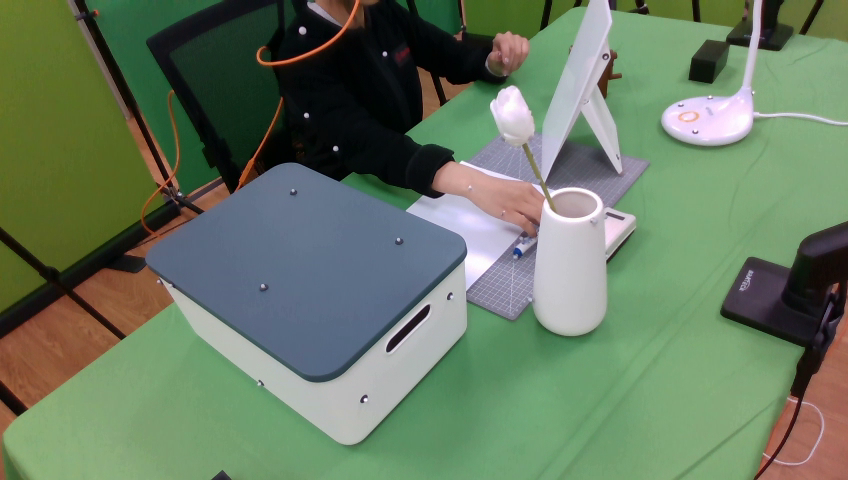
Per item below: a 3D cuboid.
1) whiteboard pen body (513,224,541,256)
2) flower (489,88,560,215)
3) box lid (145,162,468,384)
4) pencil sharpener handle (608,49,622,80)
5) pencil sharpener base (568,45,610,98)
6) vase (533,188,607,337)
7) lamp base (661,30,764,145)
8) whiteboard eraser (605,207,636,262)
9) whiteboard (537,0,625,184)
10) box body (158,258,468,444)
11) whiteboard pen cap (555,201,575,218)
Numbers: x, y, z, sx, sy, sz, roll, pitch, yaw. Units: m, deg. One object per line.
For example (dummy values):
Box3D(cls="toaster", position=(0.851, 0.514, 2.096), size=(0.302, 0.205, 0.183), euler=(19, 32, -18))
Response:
Box3D(cls="whiteboard pen body", position=(0.189, -0.018, 0.965), size=(0.017, 0.017, 0.141), euler=(28, 53, 36))
Box3D(cls="flower", position=(0.159, -0.027, 0.720), size=(0.038, 0.364, 0.044), euler=(-14, 44, 23))
Box3D(cls="box lid", position=(-0.157, 0.014, 0.769), size=(0.368, 0.015, 0.264), euler=(25, 51, 33))
Box3D(cls="pencil sharpener handle", position=(0.394, -0.367, 1.253), size=(0.030, 0.068, 0.036), euler=(-8, 32, 1))
Box3D(cls="pencil sharpener base", position=(0.345, -0.352, 1.263), size=(0.077, 0.107, 0.061), euler=(-8, 40, 1))
Box3D(cls="vase", position=(0.187, 0.033, 0.771), size=(0.098, 0.201, 0.097), euler=(-6, 41, 6))
Box3D(cls="lamp base", position=(0.535, -0.287, 1.096), size=(0.179, 0.181, 0.159), euler=(-10, 40, -4))
Box3D(cls="whiteboard eraser", position=(0.273, -0.003, 0.919), size=(0.055, 0.042, 0.113), euler=(27, 51, 33))
Box3D(cls="whiteboard", position=(0.316, -0.256, 1.047), size=(0.144, 0.306, 0.216), euler=(15, 42, -1))
Box3D(cls="box body", position=(-0.147, 0.072, 0.816), size=(0.361, 0.161, 0.255), euler=(24, 50, 33))
Box3D(cls="whiteboard pen cap", position=(0.231, -0.050, 0.993), size=(0.033, 0.018, 0.018), euler=(-38, 48, -26))
